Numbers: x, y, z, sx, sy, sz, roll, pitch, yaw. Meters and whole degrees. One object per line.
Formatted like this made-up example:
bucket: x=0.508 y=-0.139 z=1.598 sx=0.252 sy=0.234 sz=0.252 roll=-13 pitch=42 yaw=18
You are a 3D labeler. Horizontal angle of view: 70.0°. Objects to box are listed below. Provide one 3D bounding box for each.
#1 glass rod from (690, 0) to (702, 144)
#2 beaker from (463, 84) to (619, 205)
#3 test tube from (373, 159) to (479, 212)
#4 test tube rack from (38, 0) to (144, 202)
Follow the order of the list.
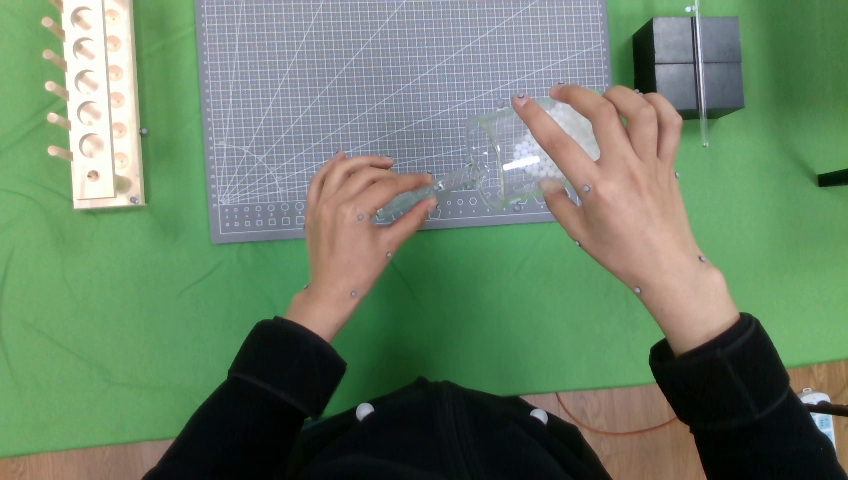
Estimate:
glass rod: x=0.291 y=-0.202 z=0.650 sx=0.008 sy=0.008 sz=0.199 roll=-2 pitch=90 yaw=-7
beaker: x=0.088 y=-0.074 z=0.462 sx=0.100 sy=0.084 sz=0.074 roll=-15 pitch=88 yaw=-9
test tube: x=-0.004 y=-0.047 z=0.550 sx=0.017 sy=0.149 sz=0.017 roll=8 pitch=75 yaw=-35
test tube rack: x=-0.327 y=-0.162 z=0.584 sx=0.067 sy=0.085 sz=0.242 roll=-4 pitch=90 yaw=-6
